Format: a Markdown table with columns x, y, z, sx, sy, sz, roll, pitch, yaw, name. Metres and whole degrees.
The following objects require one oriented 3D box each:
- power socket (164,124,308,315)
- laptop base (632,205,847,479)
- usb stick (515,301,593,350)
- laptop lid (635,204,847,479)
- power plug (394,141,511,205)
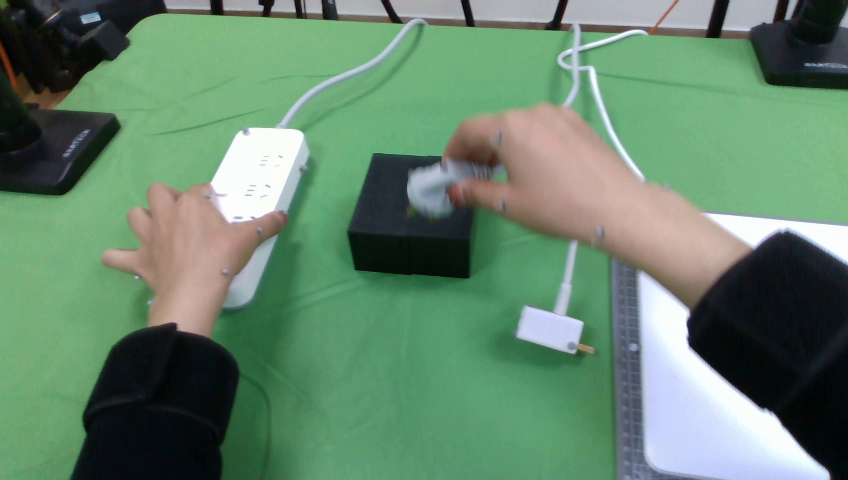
| x | y | z | sx | sy | sz | roll | pitch | yaw | name |
| --- | --- | --- | --- | --- | --- | --- | --- | --- | --- |
| -0.166 | -0.032 | 0.561 | 0.072 | 0.033 | 0.224 | 4 | 49 | 6 | power socket |
| 0.336 | 0.080 | 0.442 | 0.354 | 0.023 | 0.233 | 6 | 52 | 9 | laptop base |
| 0.100 | 0.066 | 0.458 | 0.059 | 0.021 | 0.027 | 20 | 87 | 3 | usb stick |
| 0.335 | 0.074 | 0.432 | 0.356 | 0.013 | 0.240 | 7 | 51 | 10 | laptop lid |
| 0.015 | -0.054 | 0.409 | 0.072 | 0.053 | 0.035 | -48 | 56 | 21 | power plug |
